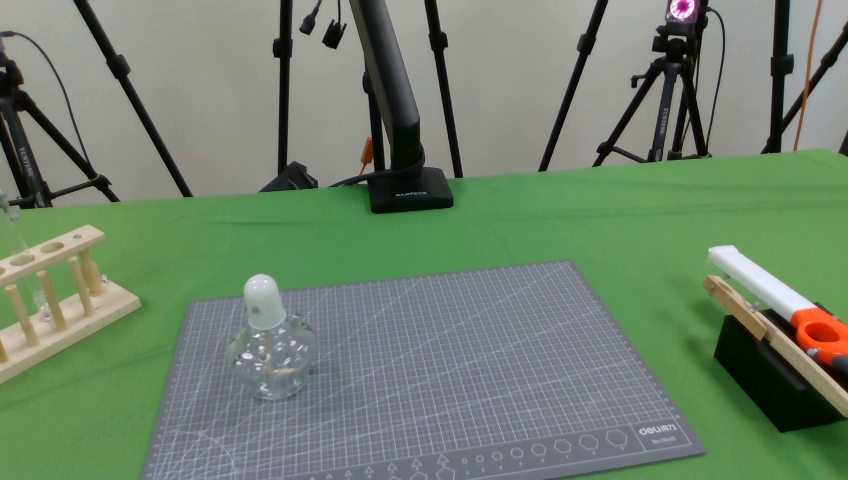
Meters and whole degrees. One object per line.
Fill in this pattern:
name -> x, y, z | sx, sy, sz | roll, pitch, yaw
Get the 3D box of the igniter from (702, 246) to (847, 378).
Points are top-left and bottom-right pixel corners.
igniter -> 0.344, 0.075, 0.542 | 0.057, 0.025, 0.273 | -6, 28, -10

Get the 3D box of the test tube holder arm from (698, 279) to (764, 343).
test tube holder arm -> 0.288, 0.065, 0.568 | 0.010, 0.015, 0.087 | -9, 30, -12

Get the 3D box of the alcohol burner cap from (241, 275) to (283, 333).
alcohol burner cap -> -0.141, 0.052, 0.520 | 0.034, 0.048, 0.033 | -1, 35, 1

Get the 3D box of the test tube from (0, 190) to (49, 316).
test tube -> -0.398, 0.015, 0.594 | 0.017, 0.151, 0.017 | 0, 33, 0

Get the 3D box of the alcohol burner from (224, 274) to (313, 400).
alcohol burner -> -0.140, 0.083, 0.539 | 0.078, 0.120, 0.077 | 0, 29, 0

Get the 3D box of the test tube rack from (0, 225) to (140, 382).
test tube rack -> -0.412, 0.079, 0.582 | 0.066, 0.086, 0.242 | 20, 36, 31

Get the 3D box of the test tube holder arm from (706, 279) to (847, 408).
test tube holder arm -> 0.306, 0.085, 0.532 | 0.013, 0.015, 0.176 | -10, 31, -14
